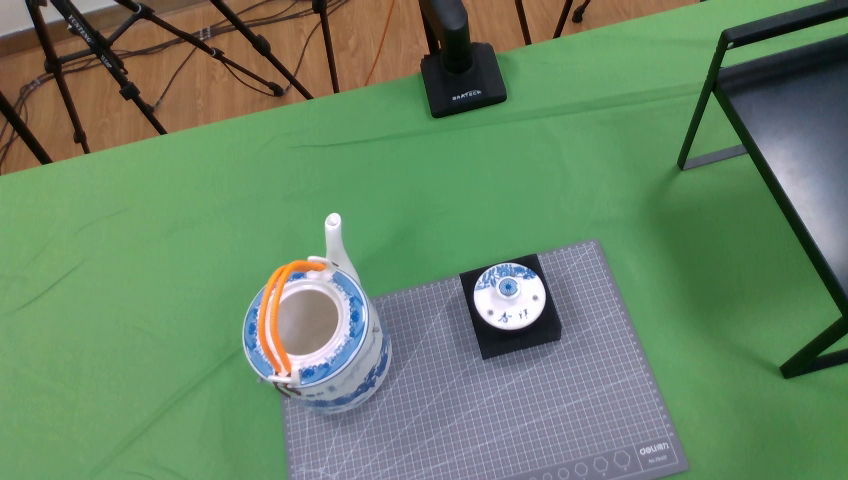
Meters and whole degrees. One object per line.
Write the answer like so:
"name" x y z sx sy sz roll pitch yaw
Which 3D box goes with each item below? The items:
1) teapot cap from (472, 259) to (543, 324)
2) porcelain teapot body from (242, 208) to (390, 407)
"teapot cap" 0.097 0.058 0.712 0.085 0.044 0.084 -4 60 8
"porcelain teapot body" -0.123 0.071 0.696 0.145 0.227 0.204 5 64 12
